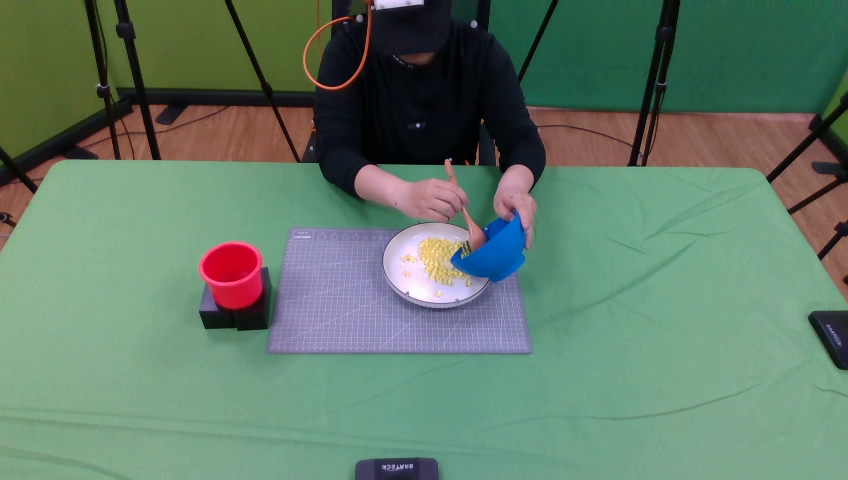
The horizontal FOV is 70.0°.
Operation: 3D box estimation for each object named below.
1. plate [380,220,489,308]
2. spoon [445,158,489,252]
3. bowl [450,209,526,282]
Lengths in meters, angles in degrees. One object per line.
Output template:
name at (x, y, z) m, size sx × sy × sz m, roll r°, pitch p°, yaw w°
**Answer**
plate at (0.022, 0.048, 1.138) m, size 0.208 × 0.039 × 0.206 m, roll 2°, pitch 46°, yaw -2°
spoon at (0.074, -0.058, 1.101) m, size 0.041 × 0.021 × 0.194 m, roll -25°, pitch 93°, yaw -26°
bowl at (0.127, 0.021, 1.070) m, size 0.077 × 0.151 × 0.151 m, roll 52°, pitch 55°, yaw -8°
